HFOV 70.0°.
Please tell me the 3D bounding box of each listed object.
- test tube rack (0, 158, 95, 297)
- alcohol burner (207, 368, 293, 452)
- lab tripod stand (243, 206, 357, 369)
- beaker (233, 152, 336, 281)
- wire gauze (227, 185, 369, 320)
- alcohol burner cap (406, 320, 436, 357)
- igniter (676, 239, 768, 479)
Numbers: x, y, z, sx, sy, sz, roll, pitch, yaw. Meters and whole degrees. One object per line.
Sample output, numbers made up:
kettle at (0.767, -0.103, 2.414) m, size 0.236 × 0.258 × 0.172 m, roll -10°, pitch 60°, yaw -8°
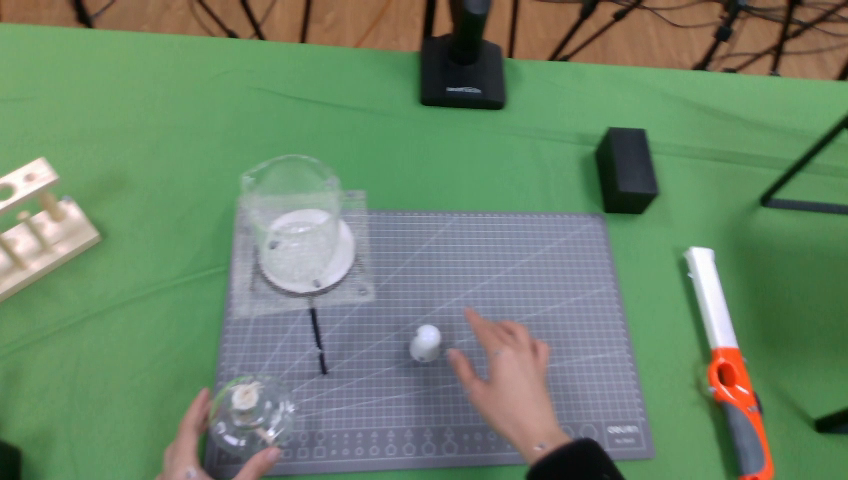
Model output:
test tube rack at (-0.471, 0.026, 0.599) m, size 0.242 × 0.086 × 0.066 m, roll -39°, pitch 72°, yaw -24°
alcohol burner at (-0.160, 0.150, 0.552) m, size 0.078 × 0.120 × 0.077 m, roll 4°, pitch 60°, yaw -6°
lab tripod stand at (-0.119, 0.041, 0.605) m, size 0.149 × 0.132 × 0.147 m, roll 4°, pitch 62°, yaw -7°
beaker at (-0.115, -0.015, 0.506) m, size 0.084 × 0.101 × 0.073 m, roll 23°, pitch 61°, yaw 5°
wire gauze at (-0.116, 0.006, 0.550) m, size 0.122 × 0.011 × 0.124 m, roll -5°, pitch 66°, yaw -8°
alcohol burner cap at (-0.002, 0.102, 0.640) m, size 0.034 × 0.048 × 0.033 m, roll 2°, pitch 66°, yaw -3°
igniter at (0.331, 0.124, 0.681) m, size 0.057 × 0.025 × 0.274 m, roll 6°, pitch 61°, yaw -16°
